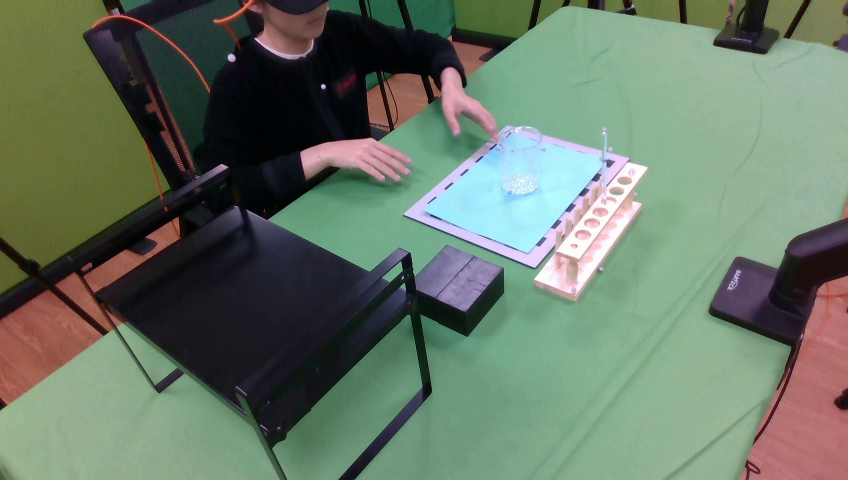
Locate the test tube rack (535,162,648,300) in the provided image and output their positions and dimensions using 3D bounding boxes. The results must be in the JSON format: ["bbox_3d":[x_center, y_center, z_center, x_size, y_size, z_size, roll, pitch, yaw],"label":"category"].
[{"bbox_3d":[0.257,-0.024,0.916,0.066,0.085,0.243,22,49,30],"label":"test tube rack"}]

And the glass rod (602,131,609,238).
[{"bbox_3d":[0.262,-0.074,0.871,0.008,0.201,0.008,-9,44,9],"label":"glass rod"}]

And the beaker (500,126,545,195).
[{"bbox_3d":[0.169,-0.137,1.045,0.074,0.101,0.083,-8,40,0],"label":"beaker"}]
